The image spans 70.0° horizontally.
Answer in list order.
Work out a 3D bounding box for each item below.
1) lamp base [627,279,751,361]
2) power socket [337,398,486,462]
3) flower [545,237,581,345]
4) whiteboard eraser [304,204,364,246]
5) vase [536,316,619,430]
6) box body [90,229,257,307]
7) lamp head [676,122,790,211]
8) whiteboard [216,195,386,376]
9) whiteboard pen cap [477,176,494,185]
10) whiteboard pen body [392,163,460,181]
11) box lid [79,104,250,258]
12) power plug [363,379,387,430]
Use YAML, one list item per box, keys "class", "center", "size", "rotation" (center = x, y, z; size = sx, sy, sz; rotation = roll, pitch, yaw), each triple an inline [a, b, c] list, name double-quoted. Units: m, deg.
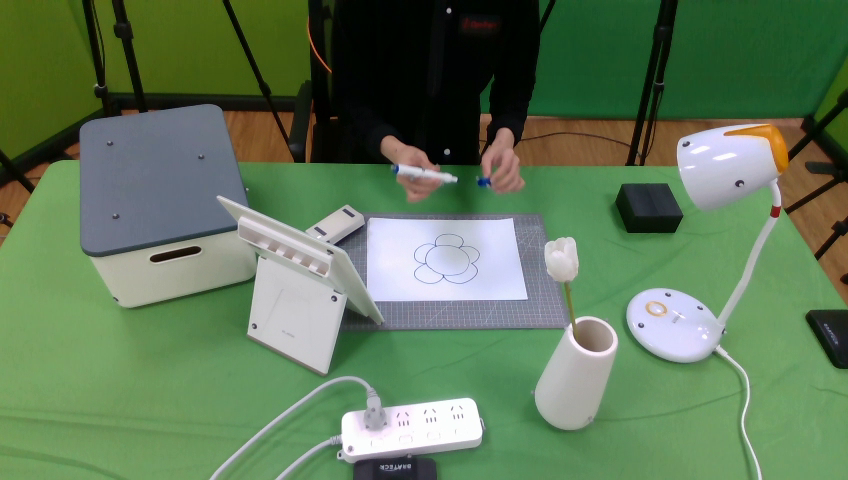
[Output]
- class: "lamp base"
  center: [0.460, 0.100, 1.027]
  size: [0.178, 0.181, 0.160]
  rotation: [27, 51, 17]
- class: "power socket"
  center: [-0.018, 0.285, 0.914]
  size: [0.227, 0.033, 0.071]
  rotation: [-4, 46, -8]
- class: "flower"
  center: [0.213, 0.137, 0.846]
  size: [0.038, 0.364, 0.044]
  rotation: [21, 55, 40]
- class: "whiteboard eraser"
  center: [-0.175, -0.022, 1.188]
  size: [0.055, 0.042, 0.112]
  rotation: [36, 53, 26]
- class: "vase"
  center: [0.229, 0.200, 0.901]
  size: [0.098, 0.201, 0.097]
  rotation: [3, 46, -3]
- class: "box body"
  center: [-0.471, -0.070, 1.131]
  size: [0.254, 0.161, 0.361]
  rotation: [-14, 49, -17]
- class: "lamp head"
  center: [0.423, -0.104, 0.819]
  size: [0.122, 0.113, 0.112]
  rotation: [-13, 33, 40]
- class: "whiteboard"
  center: [-0.212, 0.093, 0.939]
  size: [0.216, 0.307, 0.143]
  rotation: [24, 70, 17]
- class: "whiteboard pen cap"
  center: [0.114, -0.111, 1.126]
  size: [0.033, 0.018, 0.018]
  rotation: [-7, 43, -41]
- class: "whiteboard pen body"
  center: [0.006, -0.117, 1.061]
  size: [0.141, 0.017, 0.017]
  rotation: [7, 40, -34]
- class: "box lid"
  center: [-0.467, -0.121, 1.075]
  size: [0.264, 0.015, 0.369]
  rotation: [-13, 49, -17]
- class: "power plug"
  center: [-0.071, 0.252, 0.911]
  size: [0.035, 0.053, 0.072]
  rotation: [3, 40, 0]
